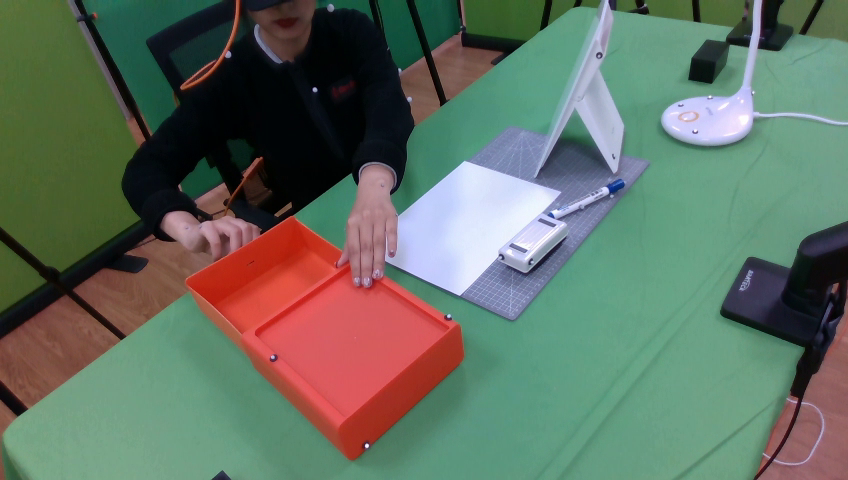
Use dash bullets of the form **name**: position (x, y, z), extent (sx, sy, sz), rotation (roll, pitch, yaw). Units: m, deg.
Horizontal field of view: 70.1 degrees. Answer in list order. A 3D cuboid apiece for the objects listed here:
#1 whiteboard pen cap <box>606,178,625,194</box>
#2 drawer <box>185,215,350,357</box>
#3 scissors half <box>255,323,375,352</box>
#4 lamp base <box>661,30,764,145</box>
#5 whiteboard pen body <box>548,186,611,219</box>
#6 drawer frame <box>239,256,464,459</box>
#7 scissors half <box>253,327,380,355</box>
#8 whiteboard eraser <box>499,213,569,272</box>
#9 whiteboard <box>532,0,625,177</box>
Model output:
- **whiteboard pen cap**: position (0.320, -0.090, 1.016), extent (0.033, 0.018, 0.018), rotation (-27, 43, -14)
- **drawer**: position (-0.209, 0.073, 0.891), extent (0.195, 0.073, 0.210), rotation (-35, 46, -28)
- **scissors half**: position (-0.149, 0.144, 0.846), extent (0.176, 0.040, 0.012), rotation (12, 27, -25)
- **lamp base**: position (0.535, -0.287, 1.096), extent (0.179, 0.181, 0.159), rotation (-10, 40, -4)
- **whiteboard pen body**: position (0.267, -0.066, 1.004), extent (0.141, 0.017, 0.017), rotation (-25, 43, -13)
- **drawer frame**: position (-0.093, 0.139, 0.788), extent (0.211, 0.083, 0.202), rotation (30, 53, 36)
- **scissors half**: position (-0.147, 0.134, 0.839), extent (0.176, 0.040, 0.012), rotation (-4, 39, -17)
- **whiteboard eraser**: position (0.168, 0.006, 0.923), extent (0.055, 0.042, 0.113), rotation (29, 53, 34)
- **whiteboard**: position (0.320, -0.259, 1.050), extent (0.144, 0.306, 0.217), rotation (21, 45, 5)
